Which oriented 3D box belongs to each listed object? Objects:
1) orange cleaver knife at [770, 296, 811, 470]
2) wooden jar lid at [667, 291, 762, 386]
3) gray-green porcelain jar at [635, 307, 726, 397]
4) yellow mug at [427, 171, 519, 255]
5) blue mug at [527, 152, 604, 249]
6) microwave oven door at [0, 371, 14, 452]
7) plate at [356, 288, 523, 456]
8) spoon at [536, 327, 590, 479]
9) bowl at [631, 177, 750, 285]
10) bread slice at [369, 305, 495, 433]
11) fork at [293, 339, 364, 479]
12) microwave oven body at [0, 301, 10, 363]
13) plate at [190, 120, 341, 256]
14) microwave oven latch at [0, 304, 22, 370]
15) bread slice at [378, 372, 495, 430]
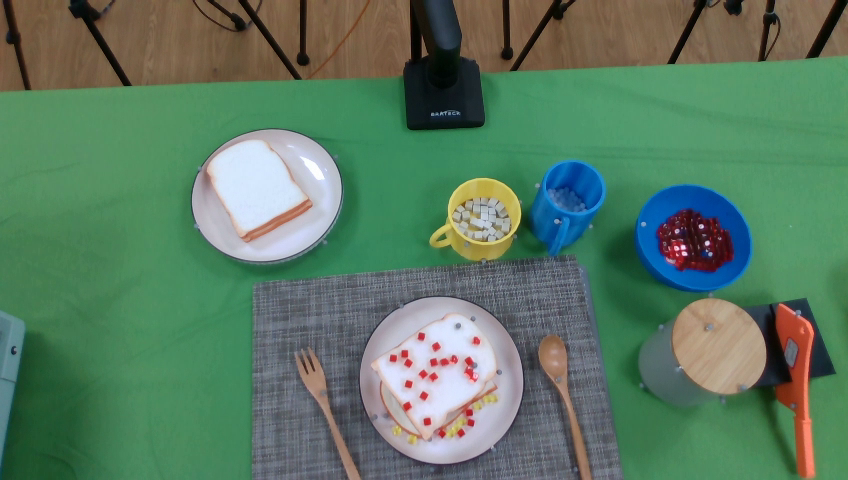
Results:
[{"bbox_3d":[0.457,0.177,0.756,0.012,0.077,0.211,-5,96,-3],"label":"orange cleaver knife"},{"bbox_3d":[0.326,0.111,0.686,0.108,0.021,0.107,1,71,-3],"label":"wooden jar lid"},{"bbox_3d":[0.326,0.135,0.745,0.106,0.127,0.105,1,69,-2],"label":"gray-green porcelain jar"},{"bbox_3d":[0.063,-0.031,0.832,0.131,0.064,0.099,-24,71,-9],"label":"yellow mug"},{"bbox_3d":[0.185,-0.044,0.820,0.082,0.106,0.116,15,69,5],"label":"blue mug"},{"bbox_3d":[-0.511,0.287,0.578,0.039,0.245,0.353,-3,69,-2],"label":"microwave oven door"},{"bbox_3d":[0.019,0.164,0.767,0.209,0.038,0.207,1,69,-1],"label":"plate"},{"bbox_3d":[0.179,0.205,0.764,0.042,0.022,0.192,-3,67,-25],"label":"spoon"},{"bbox_3d":[0.348,-0.002,0.823,0.151,0.077,0.150,1,69,-1],"label":"bowl"},{"bbox_3d":[0.016,0.141,0.713,0.134,0.018,0.106,-37,79,-20],"label":"bread slice"},{"bbox_3d":[-0.115,0.219,0.751,0.028,0.019,0.205,-21,69,-18],"label":"fork"},{"bbox_3d":[-0.659,0.256,0.590,0.326,0.261,0.438,-2,70,-3],"label":"microwave oven body"},{"bbox_3d":[-0.220,-0.072,0.854,0.208,0.039,0.206,1,69,-2],"label":"plate"},{"bbox_3d":[-0.523,0.120,0.750,0.030,0.029,0.078,1,69,-2],"label":"microwave oven latch"},{"bbox_3d":[0.011,0.175,0.766,0.131,0.019,0.104,-34,72,-16],"label":"bread slice"}]
